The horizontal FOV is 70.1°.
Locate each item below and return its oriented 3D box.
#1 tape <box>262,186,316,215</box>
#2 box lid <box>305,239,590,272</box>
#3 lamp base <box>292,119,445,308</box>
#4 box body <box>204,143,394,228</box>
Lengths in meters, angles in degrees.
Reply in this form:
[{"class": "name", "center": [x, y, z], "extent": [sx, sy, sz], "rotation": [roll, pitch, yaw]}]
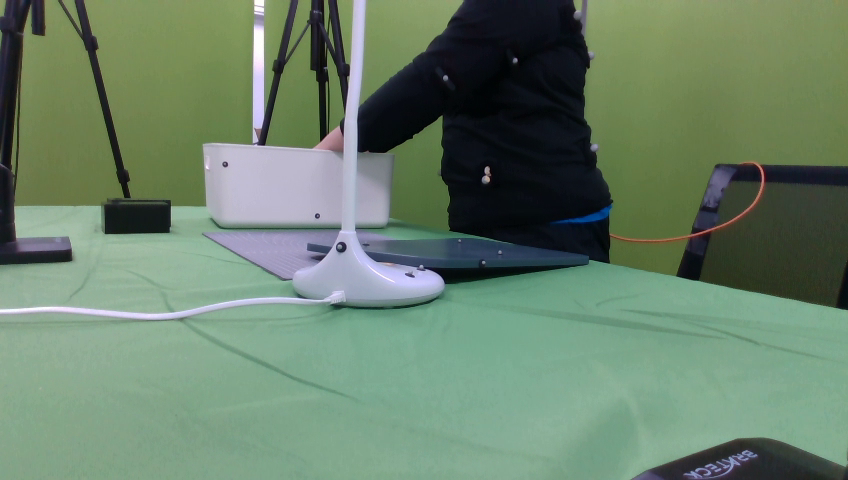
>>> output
[{"class": "tape", "center": [-0.290, -0.085, 1.298], "extent": [0.117, 0.052, 0.117], "rotation": [6, 5, 0]}, {"class": "box lid", "center": [0.042, 0.019, 0.879], "extent": [0.262, 0.015, 0.374], "rotation": [7, 5, 44]}, {"class": "lamp base", "center": [-0.056, -0.030, 0.616], "extent": [0.160, 0.180, 0.179], "rotation": [4, 10, 8]}, {"class": "box body", "center": [-0.271, -0.117, 1.291], "extent": [0.366, 0.160, 0.253], "rotation": [-1, 8, -25]}]
